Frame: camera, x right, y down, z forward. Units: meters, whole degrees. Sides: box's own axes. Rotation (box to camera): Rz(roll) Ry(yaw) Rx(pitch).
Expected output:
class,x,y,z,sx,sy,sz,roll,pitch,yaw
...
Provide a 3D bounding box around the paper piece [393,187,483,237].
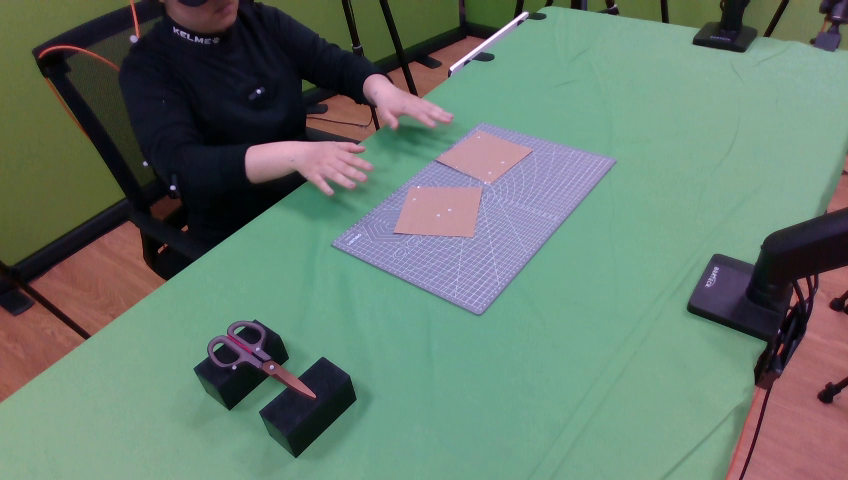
class,x,y,z,sx,sy,sz,roll,pitch,yaw
paper piece,0.027,-0.051,1.033,0.135,0.004,0.135,3,41,12

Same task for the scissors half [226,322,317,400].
class,x,y,z,sx,sy,sz,roll,pitch,yaw
scissors half,-0.189,0.149,0.754,0.040,0.013,0.173,-35,49,-31

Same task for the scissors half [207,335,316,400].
class,x,y,z,sx,sy,sz,roll,pitch,yaw
scissors half,-0.201,0.159,0.741,0.174,0.013,0.040,18,40,23

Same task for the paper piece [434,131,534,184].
class,x,y,z,sx,sy,sz,roll,pitch,yaw
paper piece,0.114,-0.161,1.150,0.135,0.009,0.139,31,52,32
